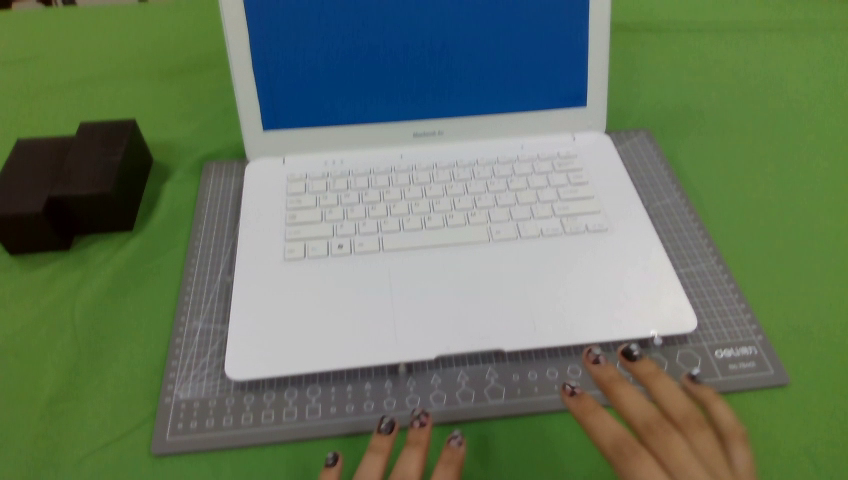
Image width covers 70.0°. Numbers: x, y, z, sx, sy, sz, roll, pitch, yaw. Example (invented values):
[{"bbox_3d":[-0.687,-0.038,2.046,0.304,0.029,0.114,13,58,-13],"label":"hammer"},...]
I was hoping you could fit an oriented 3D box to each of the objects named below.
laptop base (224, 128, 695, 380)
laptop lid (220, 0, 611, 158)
[{"bbox_3d":[0.019,-0.001,0.519,0.355,0.023,0.233,-5,53,-4],"label":"laptop base"},{"bbox_3d":[-0.001,-0.198,0.551,0.357,0.243,0.013,-7,21,-4],"label":"laptop lid"}]
